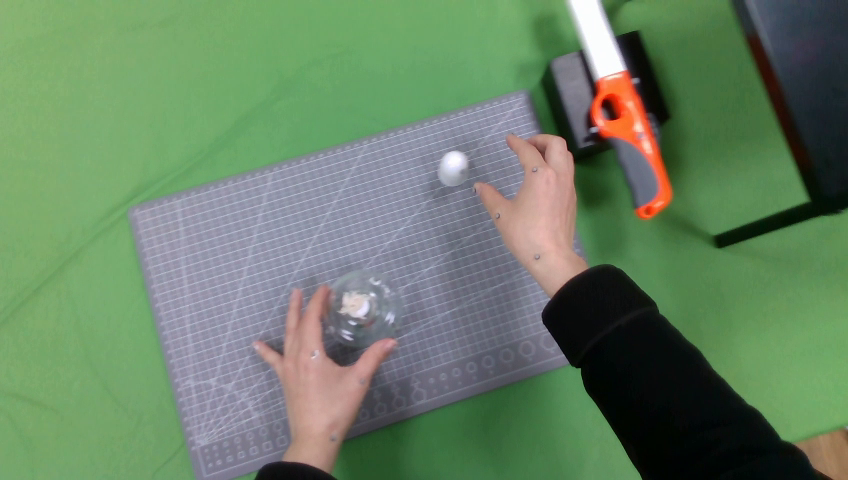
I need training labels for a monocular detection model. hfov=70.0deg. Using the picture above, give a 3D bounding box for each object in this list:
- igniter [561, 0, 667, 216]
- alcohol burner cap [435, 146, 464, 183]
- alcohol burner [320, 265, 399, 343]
[{"bbox_3d":[0.187,-0.158,0.615,0.057,0.025,0.275,-17,81,-2],"label":"igniter"},{"bbox_3d":[0.028,-0.082,0.637,0.034,0.048,0.033,0,80,-2],"label":"alcohol burner cap"},{"bbox_3d":[-0.063,0.061,0.580,0.078,0.119,0.077,0,84,0],"label":"alcohol burner"}]
